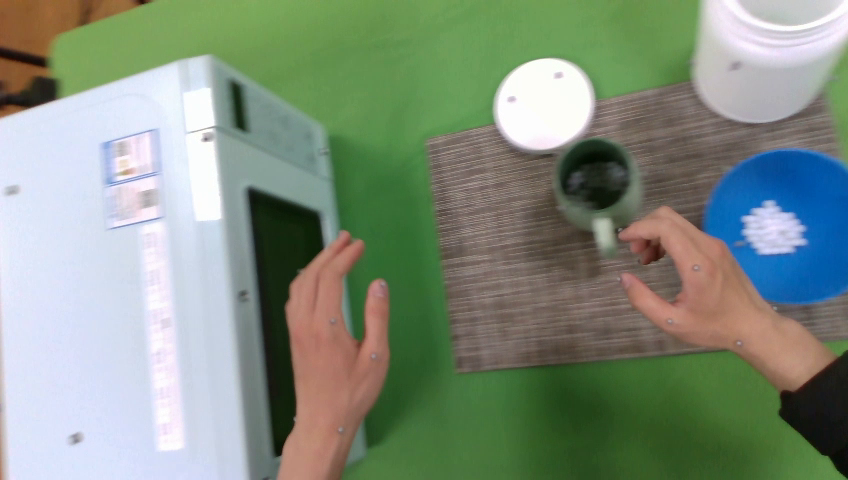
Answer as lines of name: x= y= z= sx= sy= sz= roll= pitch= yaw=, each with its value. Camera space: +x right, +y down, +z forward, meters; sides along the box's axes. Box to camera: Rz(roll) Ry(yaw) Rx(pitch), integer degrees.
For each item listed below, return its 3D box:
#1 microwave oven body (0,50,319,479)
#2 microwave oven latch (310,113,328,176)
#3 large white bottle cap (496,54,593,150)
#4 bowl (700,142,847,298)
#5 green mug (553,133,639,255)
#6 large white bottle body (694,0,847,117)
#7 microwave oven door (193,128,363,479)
microwave oven body: x=-0.293 y=0.065 z=0.720 sx=0.325 sy=0.261 sz=0.440 roll=-11 pitch=81 yaw=17
microwave oven latch: x=-0.146 y=-0.123 z=0.794 sx=0.030 sy=0.029 sz=0.079 roll=-10 pitch=81 yaw=17
large white bottle cap: x=0.144 y=-0.166 z=0.727 sx=0.114 sy=0.018 sz=0.114 roll=-3 pitch=82 yaw=18
bowl: x=0.355 y=-0.015 z=0.608 sx=0.151 sy=0.077 sz=0.151 roll=-2 pitch=83 yaw=19
green mug: x=0.187 y=-0.047 z=0.653 sx=0.092 sy=0.105 sz=0.125 roll=-10 pitch=80 yaw=17
large white bottle body: x=0.334 y=-0.210 z=0.579 sx=0.130 sy=0.186 sz=0.130 roll=-4 pitch=79 yaw=19
microwave oven door: x=-0.152 y=0.080 z=0.666 sx=0.039 sy=0.245 sz=0.354 roll=-11 pitch=80 yaw=17
